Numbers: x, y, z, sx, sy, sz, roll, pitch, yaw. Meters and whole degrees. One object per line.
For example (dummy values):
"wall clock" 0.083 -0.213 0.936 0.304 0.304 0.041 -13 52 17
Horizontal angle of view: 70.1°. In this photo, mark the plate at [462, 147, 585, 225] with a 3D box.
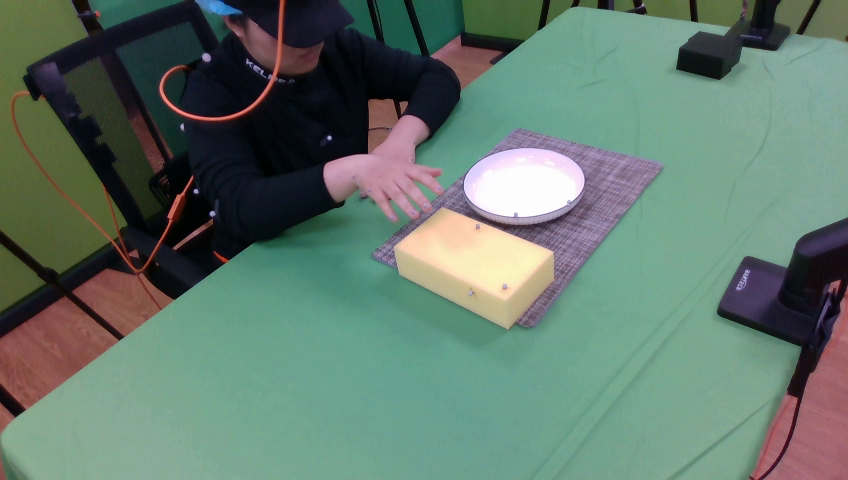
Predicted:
"plate" 0.170 -0.089 1.041 0.207 0.039 0.206 -5 40 5

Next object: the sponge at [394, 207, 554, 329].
"sponge" 0.073 0.035 0.895 0.205 0.061 0.118 24 50 33
